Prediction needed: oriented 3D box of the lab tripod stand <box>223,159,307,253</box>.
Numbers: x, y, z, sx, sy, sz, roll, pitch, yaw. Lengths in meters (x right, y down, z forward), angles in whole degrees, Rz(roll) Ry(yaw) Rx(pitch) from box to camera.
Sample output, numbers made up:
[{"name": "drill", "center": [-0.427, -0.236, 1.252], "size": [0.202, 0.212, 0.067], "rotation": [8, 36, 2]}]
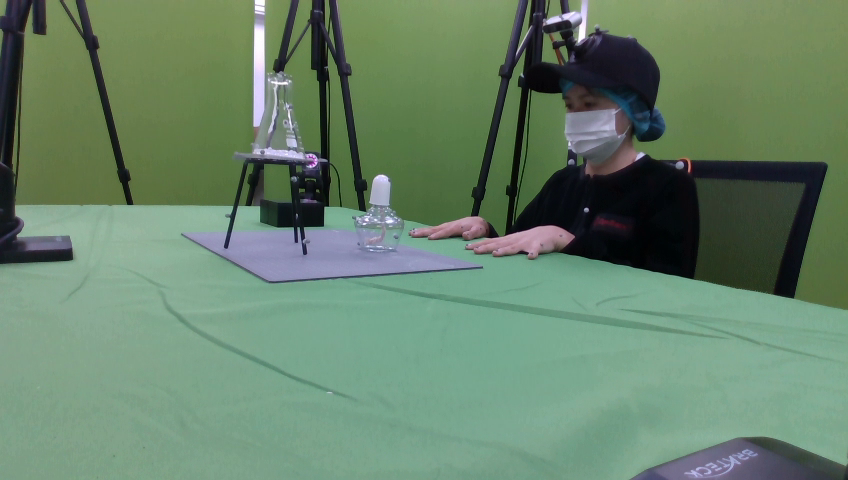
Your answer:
[{"name": "lab tripod stand", "center": [-0.220, -0.053, 0.896], "size": [0.148, 0.131, 0.148], "rotation": [1, 6, 0]}]

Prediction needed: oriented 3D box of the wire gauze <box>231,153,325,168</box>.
[{"name": "wire gauze", "center": [-0.215, -0.117, 0.882], "size": [0.125, 0.011, 0.121], "rotation": [3, 7, -19]}]

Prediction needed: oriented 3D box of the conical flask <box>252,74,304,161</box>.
[{"name": "conical flask", "center": [-0.211, -0.177, 0.879], "size": [0.075, 0.122, 0.075], "rotation": [3, 6, 0]}]

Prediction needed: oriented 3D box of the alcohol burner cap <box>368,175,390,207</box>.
[{"name": "alcohol burner cap", "center": [-0.067, -0.075, 0.923], "size": [0.034, 0.048, 0.034], "rotation": [8, 11, -1]}]

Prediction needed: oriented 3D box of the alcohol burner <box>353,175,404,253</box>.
[{"name": "alcohol burner", "center": [-0.069, -0.040, 0.927], "size": [0.078, 0.119, 0.078], "rotation": [1, 9, 0]}]
